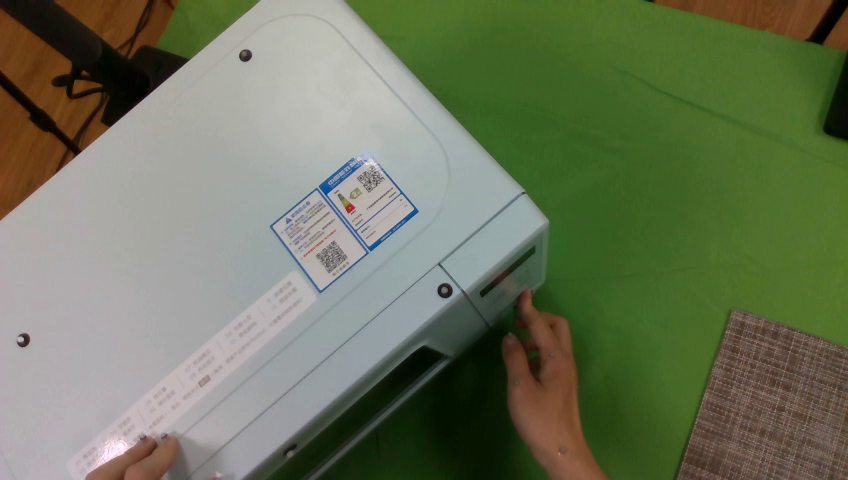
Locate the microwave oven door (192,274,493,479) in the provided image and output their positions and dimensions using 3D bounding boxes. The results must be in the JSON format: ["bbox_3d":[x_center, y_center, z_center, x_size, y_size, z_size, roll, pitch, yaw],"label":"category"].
[{"bbox_3d":[-0.095,0.168,0.527,0.356,0.245,0.039,-41,72,-1],"label":"microwave oven door"}]

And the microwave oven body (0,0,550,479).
[{"bbox_3d":[-0.153,0.036,0.574,0.441,0.262,0.324,-41,73,0],"label":"microwave oven body"}]

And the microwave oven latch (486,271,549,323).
[{"bbox_3d":[0.092,0.051,0.627,0.079,0.030,0.030,-39,73,0],"label":"microwave oven latch"}]
